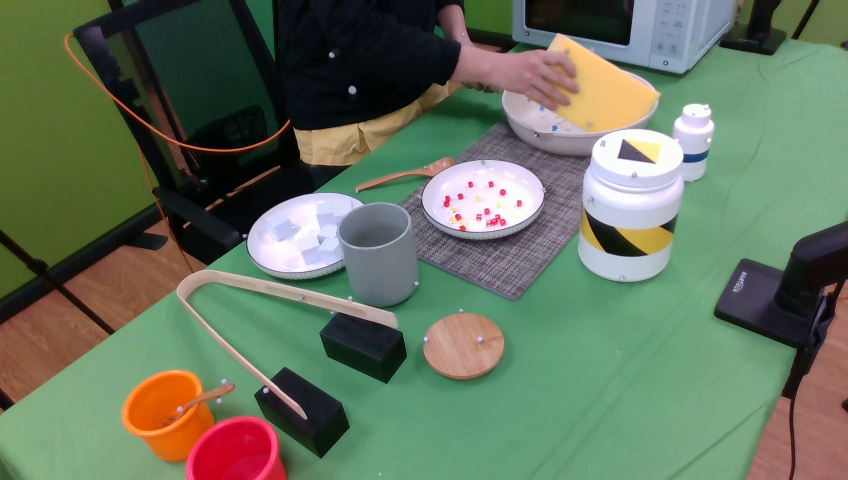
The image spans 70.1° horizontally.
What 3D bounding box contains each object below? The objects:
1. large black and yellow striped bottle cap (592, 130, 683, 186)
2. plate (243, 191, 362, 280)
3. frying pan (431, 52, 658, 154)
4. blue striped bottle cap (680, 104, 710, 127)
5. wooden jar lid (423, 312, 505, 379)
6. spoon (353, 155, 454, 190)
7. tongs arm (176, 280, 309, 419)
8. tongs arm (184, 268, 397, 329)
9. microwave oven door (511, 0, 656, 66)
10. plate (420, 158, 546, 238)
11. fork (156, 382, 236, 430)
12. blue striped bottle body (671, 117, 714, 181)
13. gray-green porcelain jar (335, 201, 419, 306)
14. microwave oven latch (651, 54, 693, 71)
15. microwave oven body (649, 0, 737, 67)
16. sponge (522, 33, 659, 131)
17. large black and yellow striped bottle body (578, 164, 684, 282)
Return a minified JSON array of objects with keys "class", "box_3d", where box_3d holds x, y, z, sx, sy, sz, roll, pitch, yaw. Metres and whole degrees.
[{"class":"large black and yellow striped bottle cap","box_3d":[0.282,-0.111,0.803,0.115,0.019,0.114,-3,41,3]},{"class":"plate","box_3d":[-0.187,-0.005,0.992,0.207,0.039,0.206,-4,41,4]},{"class":"frying pan","box_3d":[0.216,-0.302,1.223,0.484,0.103,0.308,29,49,24]},{"class":"blue striped bottle cap","box_3d":[0.443,-0.205,0.989,0.044,0.021,0.044,-1,41,2]},{"class":"wooden jar lid","box_3d":[0.053,0.142,0.800,0.108,0.021,0.108,-5,39,4]},{"class":"spoon","box_3d":[-0.038,-0.123,1.116,0.194,0.022,0.041,-12,58,-4]},{"class":"tongs arm","box_3d":[-0.254,0.133,0.801,0.028,0.028,0.384,-41,41,-23]},{"class":"tongs arm","box_3d":[-0.202,0.084,0.848,0.382,0.027,0.051,11,45,35]},{"class":"microwave oven door","box_3d":[0.351,-0.540,1.349,0.353,0.245,0.039,24,50,31]},{"class":"plate","box_3d":[0.099,-0.067,1.017,0.209,0.038,0.208,-4,40,4]},{"class":"fork","box_3d":[-0.262,0.189,0.690,0.018,0.206,0.028,49,43,-7]},{"class":"blue striped bottle body","box_3d":[0.449,-0.165,1.022,0.063,0.121,0.063,-5,41,4]},{"class":"gray-green porcelain jar","box_3d":[-0.064,0.024,0.872,0.106,0.127,0.105,-4,41,4]},{"class":"microwave oven latch","box_3d":[0.531,-0.386,1.301,0.078,0.029,0.030,26,51,33]},{"class":"microwave oven body","box_3d":[0.475,-0.602,1.411,0.438,0.261,0.327,23,50,32]},{"class":"sponge","box_3d":[0.298,-0.267,1.090,0.208,0.118,0.060,26,21,-14]},{"class":"large black and yellow striped bottle body","box_3d":[0.292,-0.046,0.859,0.131,0.185,0.130,-4,41,4]}]
